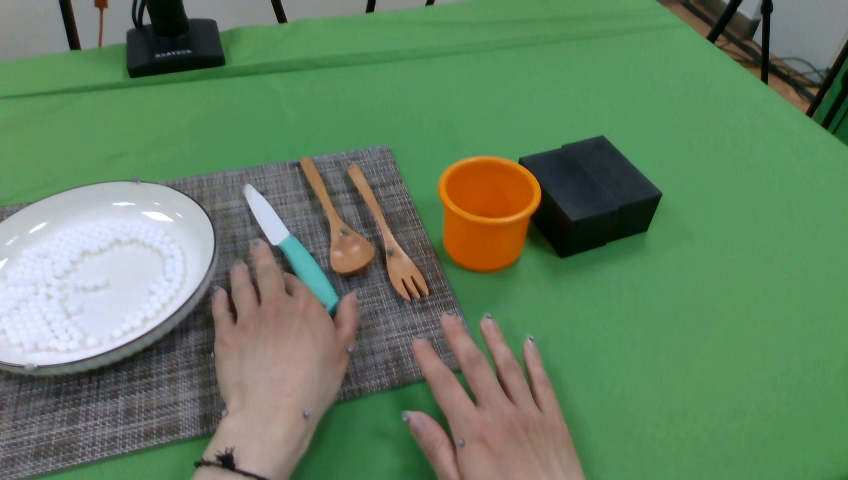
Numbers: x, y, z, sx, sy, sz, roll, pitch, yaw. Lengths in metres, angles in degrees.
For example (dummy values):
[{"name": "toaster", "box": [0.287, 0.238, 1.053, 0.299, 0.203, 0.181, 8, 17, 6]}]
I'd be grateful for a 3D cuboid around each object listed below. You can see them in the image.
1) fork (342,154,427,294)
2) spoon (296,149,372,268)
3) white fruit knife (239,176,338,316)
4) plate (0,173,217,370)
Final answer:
[{"name": "fork", "box": [-0.044, -0.022, 0.582, 0.028, 0.019, 0.205, -21, 52, -10]}, {"name": "spoon", "box": [-0.096, -0.038, 0.592, 0.041, 0.022, 0.191, -26, 52, -6]}, {"name": "white fruit knife", "box": [-0.131, -0.004, 0.563, 0.027, 0.016, 0.205, -16, 48, -31]}, {"name": "plate", "box": [-0.281, 0.024, 0.516, 0.209, 0.038, 0.207, 1, 46, -1]}]
